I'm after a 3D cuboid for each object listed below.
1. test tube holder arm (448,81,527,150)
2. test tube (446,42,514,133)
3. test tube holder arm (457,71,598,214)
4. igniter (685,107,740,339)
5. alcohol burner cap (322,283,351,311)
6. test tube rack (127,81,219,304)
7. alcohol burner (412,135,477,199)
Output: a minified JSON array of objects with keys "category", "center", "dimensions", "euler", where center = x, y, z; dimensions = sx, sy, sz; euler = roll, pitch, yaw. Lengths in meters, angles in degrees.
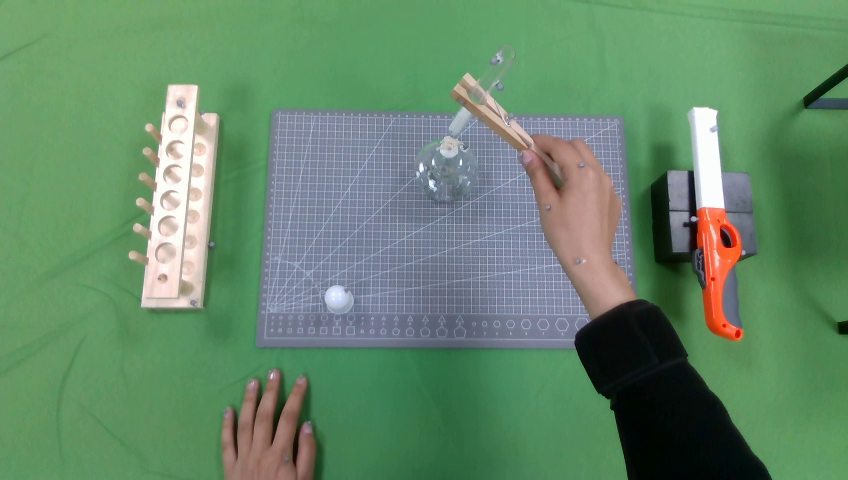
[{"category":"test tube holder arm","center":[0.060,-0.115,0.560],"dimensions":[0.088,0.015,0.010],"euler":[36,74,-7]},{"category":"test tube","center":[0.048,-0.134,0.553],"dimensions":[0.017,0.150,0.017],"euler":[4,75,-14]},{"category":"test tube holder arm","center":[0.098,-0.090,0.566],"dimensions":[0.179,0.015,0.013],"euler":[43,74,-5]},{"category":"igniter","center":[0.329,-0.025,0.697],"dimensions":[0.057,0.025,0.275],"euler":[3,74,-4]},{"category":"alcohol burner cap","center":[-0.102,0.063,0.694],"dimensions":[0.034,0.048,0.033],"euler":[1,78,-4]},{"category":"test tube rack","center":[-0.290,-0.052,0.692],"dimensions":[0.067,0.085,0.241],"euler":[1,77,-2]},{"category":"alcohol burner","center":[0.024,-0.091,0.700],"dimensions":[0.078,0.119,0.077],"euler":[0,77,0]}]
